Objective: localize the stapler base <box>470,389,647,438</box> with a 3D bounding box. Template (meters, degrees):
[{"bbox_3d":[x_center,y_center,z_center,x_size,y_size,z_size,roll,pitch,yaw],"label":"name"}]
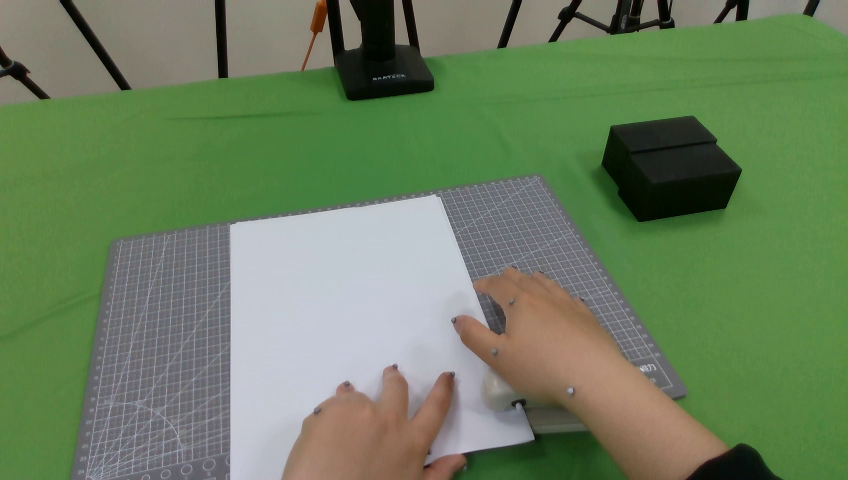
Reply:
[{"bbox_3d":[0.101,0.120,0.450,0.131,0.024,0.041,-2,45,-6],"label":"stapler base"}]

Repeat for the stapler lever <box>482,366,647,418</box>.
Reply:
[{"bbox_3d":[0.101,0.109,0.441,0.118,0.040,0.026,-10,45,3],"label":"stapler lever"}]
